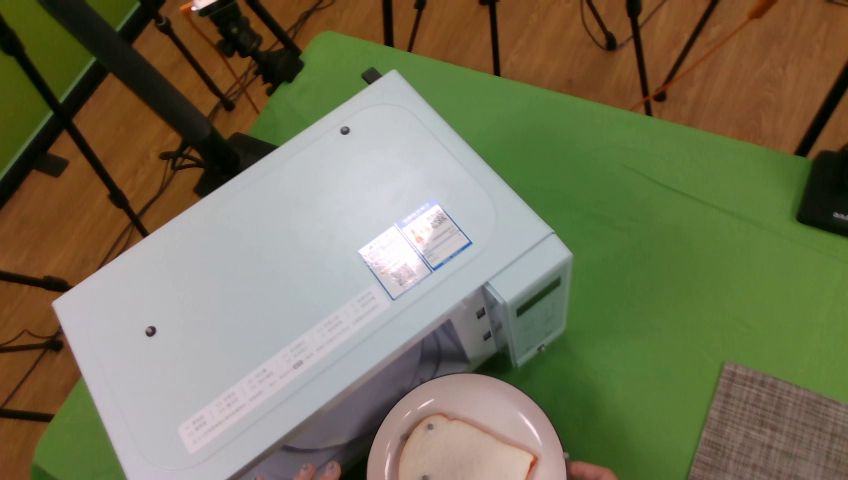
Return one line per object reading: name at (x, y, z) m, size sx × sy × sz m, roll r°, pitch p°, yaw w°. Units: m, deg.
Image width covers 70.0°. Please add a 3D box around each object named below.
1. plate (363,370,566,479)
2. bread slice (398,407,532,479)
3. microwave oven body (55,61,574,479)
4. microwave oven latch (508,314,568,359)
plate at (0.042, 0.242, 0.633) m, size 0.207 × 0.039 × 0.206 m, roll -4°, pitch 61°, yaw 7°
bread slice at (0.038, 0.238, 0.641) m, size 0.131 × 0.019 × 0.104 m, roll 20°, pitch 64°, yaw 14°
microwave oven body at (-0.105, 0.073, 0.697) m, size 0.441 × 0.262 × 0.323 m, roll -37°, pitch 64°, yaw -6°
microwave oven latch at (0.139, 0.110, 0.741) m, size 0.079 × 0.030 × 0.030 m, roll -35°, pitch 64°, yaw -6°
